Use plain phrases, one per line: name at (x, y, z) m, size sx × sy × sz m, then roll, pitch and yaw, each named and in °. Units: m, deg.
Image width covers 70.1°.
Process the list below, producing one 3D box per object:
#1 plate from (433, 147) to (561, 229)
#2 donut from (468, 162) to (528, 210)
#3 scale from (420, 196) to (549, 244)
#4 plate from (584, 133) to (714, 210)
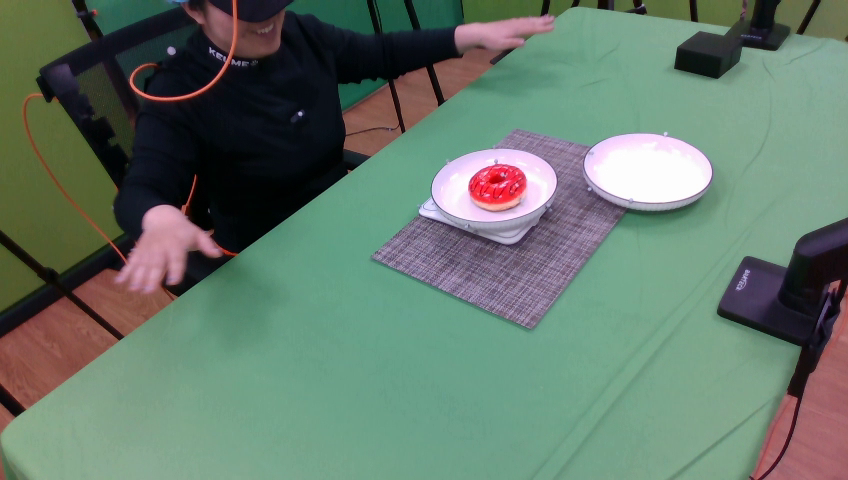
plate at (0.120, -0.082, 0.996) m, size 0.207 × 0.039 × 0.206 m, roll -6°, pitch 40°, yaw 5°
donut at (0.121, -0.088, 0.985) m, size 0.099 × 0.048 × 0.098 m, roll -7°, pitch 42°, yaw 7°
scale at (0.106, -0.065, 1.029) m, size 0.199 × 0.032 × 0.149 m, roll 21°, pitch 48°, yaw 32°
plate at (0.379, -0.113, 1.030) m, size 0.209 × 0.038 × 0.208 m, roll -4°, pitch 41°, yaw 4°
